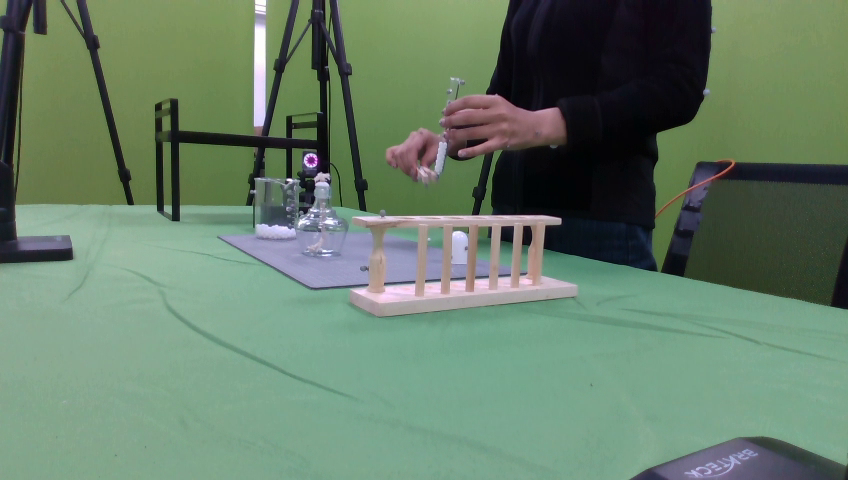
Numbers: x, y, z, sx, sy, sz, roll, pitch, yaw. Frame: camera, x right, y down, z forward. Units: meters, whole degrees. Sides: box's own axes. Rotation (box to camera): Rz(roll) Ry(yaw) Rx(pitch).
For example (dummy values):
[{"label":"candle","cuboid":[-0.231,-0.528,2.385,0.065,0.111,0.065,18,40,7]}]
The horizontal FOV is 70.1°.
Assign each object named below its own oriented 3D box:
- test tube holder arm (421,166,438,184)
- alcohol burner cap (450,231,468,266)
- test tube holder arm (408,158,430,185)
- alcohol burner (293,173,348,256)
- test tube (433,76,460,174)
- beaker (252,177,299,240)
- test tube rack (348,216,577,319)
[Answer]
[{"label":"test tube holder arm","cuboid":[0.005,-0.110,1.016,0.010,0.015,0.087,-7,19,-16]},{"label":"alcohol burner cap","cuboid":[0.046,0.012,0.839,0.034,0.048,0.034,3,6,0]},{"label":"test tube holder arm","cuboid":[-0.011,-0.122,1.056,0.013,0.015,0.178,-5,18,-11]},{"label":"alcohol burner","cuboid":[-0.147,-0.036,0.859,0.078,0.119,0.078,4,8,0]},{"label":"test tube","cuboid":[0.034,-0.174,0.925,0.017,0.150,0.017,10,21,-3]},{"label":"beaker","cuboid":[-0.245,-0.052,1.005,0.074,0.100,0.083,-2,10,-32]},{"label":"test tube rack","cuboid":[0.048,0.021,0.619,0.244,0.085,0.066,-2,9,-31]}]
